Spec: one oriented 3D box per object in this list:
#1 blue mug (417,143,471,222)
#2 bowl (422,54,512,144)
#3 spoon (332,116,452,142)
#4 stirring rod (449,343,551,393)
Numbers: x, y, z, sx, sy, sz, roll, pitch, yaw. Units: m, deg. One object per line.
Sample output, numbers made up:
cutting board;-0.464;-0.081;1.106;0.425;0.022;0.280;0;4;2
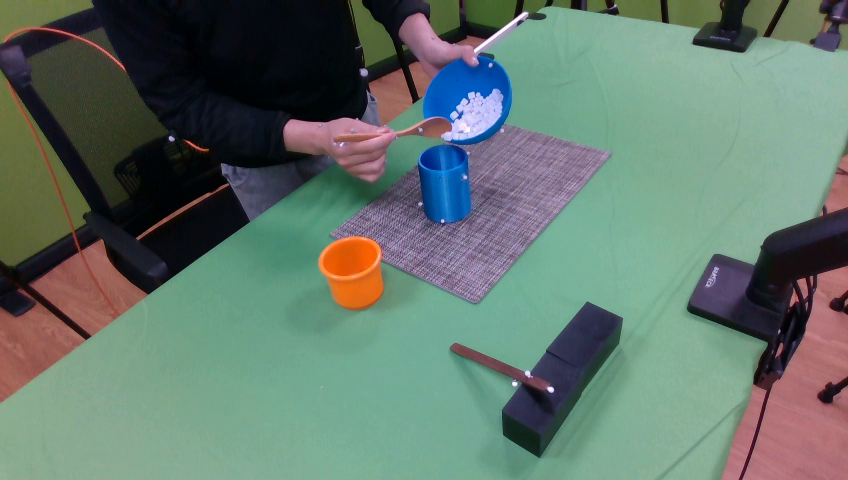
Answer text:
blue mug;0.031;-0.105;1.014;0.082;0.106;0.115;-14;41;-7
bowl;0.080;-0.217;0.992;0.151;0.077;0.151;-7;72;21
spoon;-0.045;-0.162;0.905;0.195;0.041;0.021;-14;61;-28
stirring rod;0.088;0.154;0.741;0.014;0.006;0.174;-40;28;-25
